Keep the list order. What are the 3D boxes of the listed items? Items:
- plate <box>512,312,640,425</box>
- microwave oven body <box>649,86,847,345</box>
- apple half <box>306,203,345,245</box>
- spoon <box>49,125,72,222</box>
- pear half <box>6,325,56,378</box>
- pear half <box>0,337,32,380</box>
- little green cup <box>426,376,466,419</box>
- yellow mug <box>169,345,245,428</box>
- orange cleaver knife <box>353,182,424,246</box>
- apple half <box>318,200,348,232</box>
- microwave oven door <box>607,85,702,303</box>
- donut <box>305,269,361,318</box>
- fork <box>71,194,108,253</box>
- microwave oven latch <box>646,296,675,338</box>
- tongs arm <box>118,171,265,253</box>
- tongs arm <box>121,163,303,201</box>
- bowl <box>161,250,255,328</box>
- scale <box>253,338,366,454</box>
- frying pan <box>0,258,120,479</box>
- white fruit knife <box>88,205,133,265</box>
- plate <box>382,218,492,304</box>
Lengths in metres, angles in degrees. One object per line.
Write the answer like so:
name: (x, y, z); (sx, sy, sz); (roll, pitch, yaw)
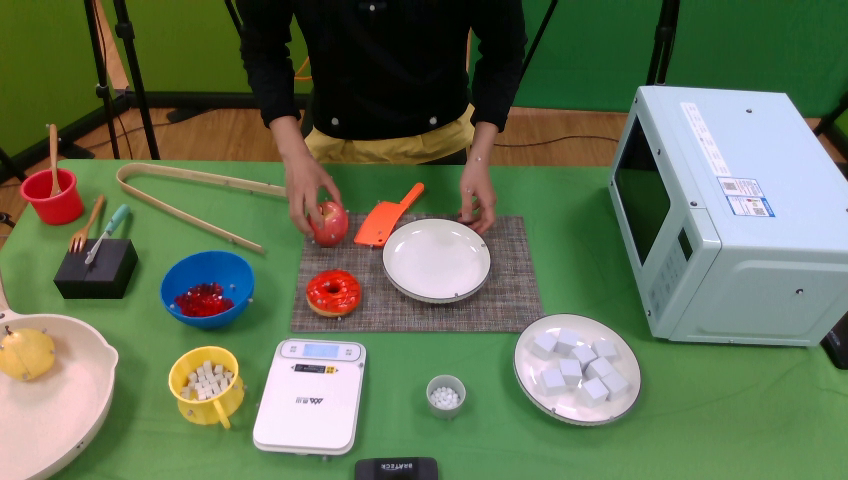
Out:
plate: (0.246, 0.213, 0.999); (0.208, 0.039, 0.206); (2, 46, -2)
microwave oven body: (0.567, -0.053, 1.118); (0.326, 0.261, 0.439); (2, 45, -1)
apple half: (-0.196, -0.024, 1.158); (0.080, 0.075, 0.053); (36, 60, 21)
spoon: (-0.718, -0.131, 1.189); (0.041, 0.021, 0.193); (-4, 90, -7)
pear half: (-0.608, 0.158, 0.935); (0.076, 0.110, 0.056); (31, 51, 20)
pear half: (-0.631, 0.184, 0.921); (0.070, 0.088, 0.031); (29, 49, 19)
little green cup: (0.033, 0.248, 0.950); (0.061, 0.039, 0.061); (2, 46, -2)
yellow mug: (-0.322, 0.230, 0.922); (0.100, 0.064, 0.130); (-24, 53, -25)
orange cleaver knife: (-0.070, -0.058, 1.246); (0.077, 0.012, 0.210); (18, 49, 21)
apple half: (-0.171, -0.047, 1.177); (0.081, 0.082, 0.033); (34, 60, 25)
microwave oven door: (0.423, -0.094, 1.140); (0.039, 0.245, 0.353); (2, 46, -1)
donut: (-0.160, 0.094, 1.075); (0.099, 0.048, 0.098); (4, 45, -3)
fork: (-0.634, -0.036, 1.158); (0.028, 0.019, 0.206); (-8, 32, -8)
microwave oven latch: (0.412, 0.134, 1.061); (0.030, 0.029, 0.078); (4, 45, 1)
tongs arm: (-0.473, -0.056, 1.210); (0.386, 0.028, 0.028); (23, 56, 17)
tongs arm: (-0.444, -0.114, 1.266); (0.384, 0.026, 0.050); (12, 50, 8)
bowl: (-0.362, 0.098, 1.039); (0.151, 0.077, 0.150); (2, 45, -2)
scale: (-0.175, 0.236, 0.951); (0.149, 0.032, 0.199); (4, 45, -1)
frying pan: (-0.647, 0.164, 0.936); (0.307, 0.103, 0.485); (-19, 58, -22)
white fruit knife: (-0.584, -0.013, 1.129); (0.016, 0.027, 0.206); (0, 32, -5)
plate: (0.023, 0.042, 1.143); (0.209, 0.038, 0.208); (2, 46, -2)
